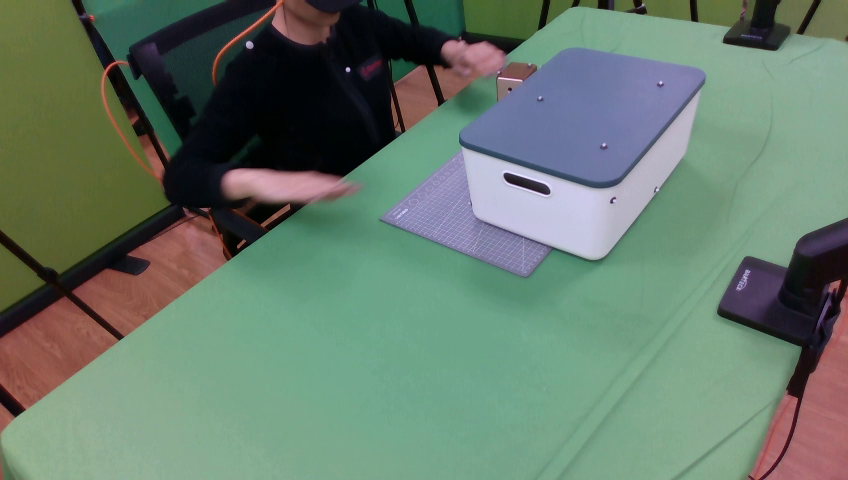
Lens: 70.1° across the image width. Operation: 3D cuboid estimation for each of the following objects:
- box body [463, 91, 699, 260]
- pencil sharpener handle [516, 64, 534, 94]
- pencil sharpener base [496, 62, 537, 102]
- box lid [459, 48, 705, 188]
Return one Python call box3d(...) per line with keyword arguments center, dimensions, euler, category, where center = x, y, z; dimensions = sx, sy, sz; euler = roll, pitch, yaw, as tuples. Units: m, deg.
box3d(center=(0.264, -0.153, 1.000), dimensions=(0.252, 0.161, 0.365), euler=(22, 49, 32), category="box body")
box3d(center=(0.214, -0.337, 1.249), dimensions=(0.036, 0.068, 0.031), euler=(12, 44, 28), category="pencil sharpener handle")
box3d(center=(0.190, -0.296, 1.225), dimensions=(0.061, 0.107, 0.077), euler=(14, 45, 27), category="pencil sharpener base")
box3d(center=(0.256, -0.210, 0.953), dimensions=(0.261, 0.015, 0.372), euler=(23, 49, 31), category="box lid")
